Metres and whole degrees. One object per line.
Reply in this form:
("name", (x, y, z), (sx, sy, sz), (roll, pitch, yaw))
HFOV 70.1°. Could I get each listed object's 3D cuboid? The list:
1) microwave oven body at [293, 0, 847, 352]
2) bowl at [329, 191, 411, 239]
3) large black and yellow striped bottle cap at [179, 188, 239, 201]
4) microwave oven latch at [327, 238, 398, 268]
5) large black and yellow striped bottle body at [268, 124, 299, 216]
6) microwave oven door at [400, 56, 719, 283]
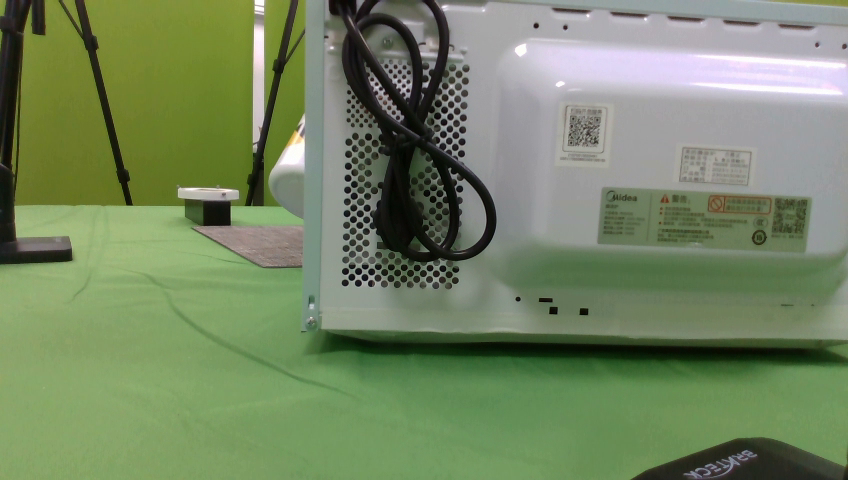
("microwave oven body", (0.122, -0.055, 0.550), (0.442, 0.260, 0.325), (3, 7, -5))
("bowl", (-0.100, -0.045, 1.104), (0.151, 0.077, 0.151), (3, 8, 0))
("large black and yellow striped bottle cap", (-0.434, -0.093, 1.226), (0.115, 0.019, 0.115), (3, 9, 0))
("microwave oven latch", (-0.069, 0.015, 0.694), (0.079, 0.029, 0.030), (3, 7, -3))
("large black and yellow striped bottle body", (-0.151, -0.131, 0.957), (0.130, 0.184, 0.131), (13, -35, 10))
("microwave oven door", (0.155, -0.077, 0.698), (0.356, 0.243, 0.039), (2, 8, -5))
